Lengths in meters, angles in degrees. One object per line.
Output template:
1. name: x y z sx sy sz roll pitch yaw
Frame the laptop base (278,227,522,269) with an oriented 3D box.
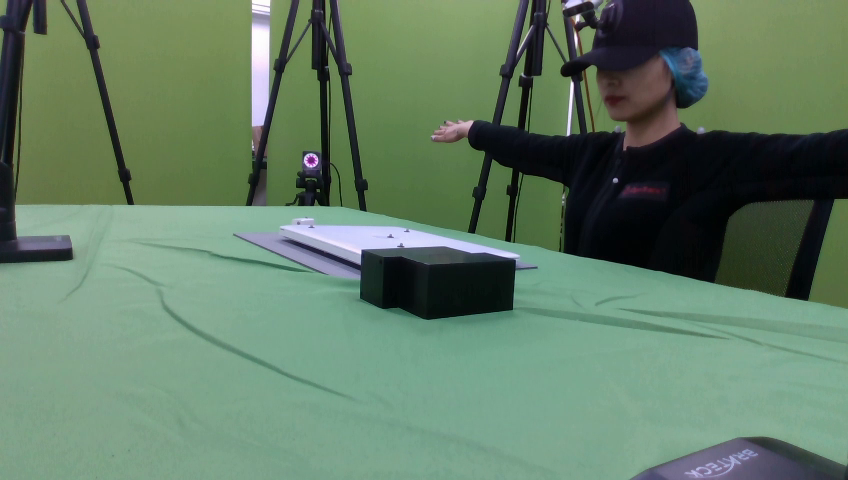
1. laptop base: -0.053 0.010 0.911 0.237 0.023 0.352 2 6 -32

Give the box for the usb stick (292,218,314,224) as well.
1. usb stick: -0.222 -0.026 1.091 0.021 0.027 0.059 5 10 21

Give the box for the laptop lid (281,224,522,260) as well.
1. laptop lid: -0.050 -0.002 0.911 0.243 0.013 0.355 1 7 -31
